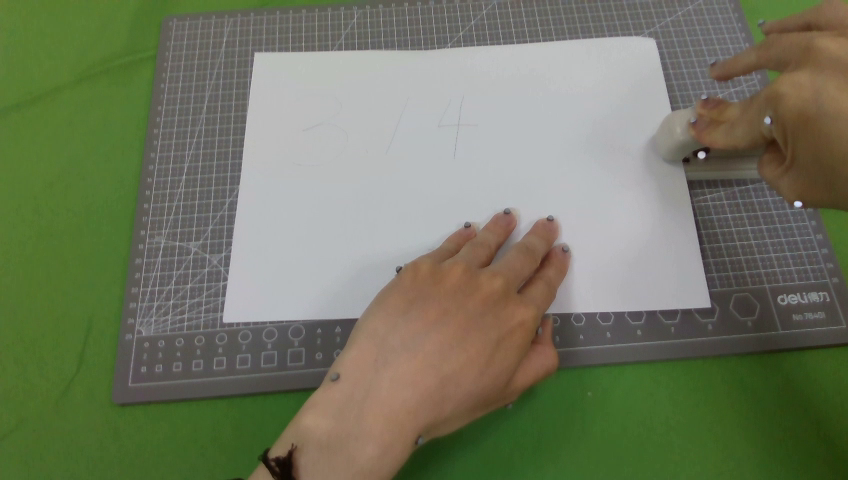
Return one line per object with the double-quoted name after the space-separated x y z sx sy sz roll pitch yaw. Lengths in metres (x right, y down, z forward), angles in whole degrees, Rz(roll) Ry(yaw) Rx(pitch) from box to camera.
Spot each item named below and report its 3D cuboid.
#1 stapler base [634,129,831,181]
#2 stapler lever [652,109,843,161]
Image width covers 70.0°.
0.211 -0.064 0.408 0.131 0.024 0.041 -1 67 -2 "stapler base"
0.211 -0.070 0.396 0.118 0.040 0.026 -6 66 9 "stapler lever"
